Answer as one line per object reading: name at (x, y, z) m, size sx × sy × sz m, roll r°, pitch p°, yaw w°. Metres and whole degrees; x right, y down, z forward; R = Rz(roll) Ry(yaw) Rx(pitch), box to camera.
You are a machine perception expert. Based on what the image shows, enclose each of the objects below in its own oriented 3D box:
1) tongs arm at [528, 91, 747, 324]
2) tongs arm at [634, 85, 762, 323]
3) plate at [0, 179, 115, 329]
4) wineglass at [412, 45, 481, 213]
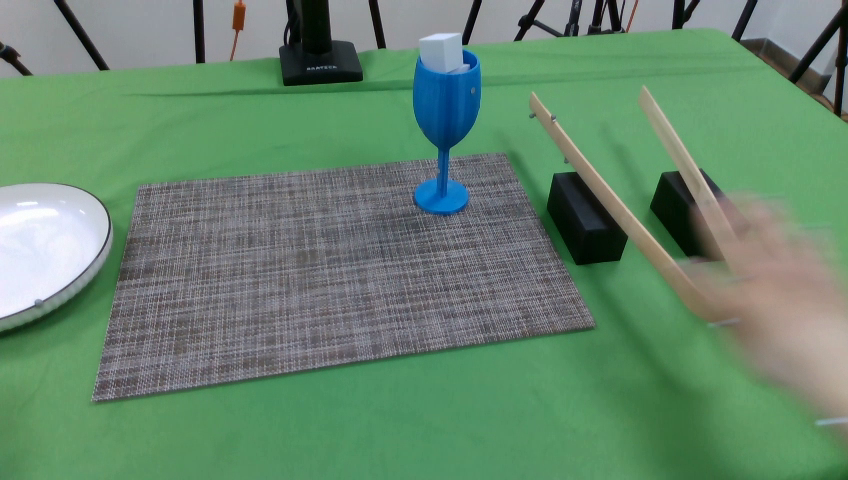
tongs arm at (0.205, -0.059, 0.650) m, size 0.051 × 0.027 × 0.380 m, roll -7°, pitch 43°, yaw -13°
tongs arm at (0.284, -0.066, 0.663) m, size 0.028 × 0.028 × 0.383 m, roll 5°, pitch 42°, yaw -6°
plate at (-0.414, 0.015, 0.599) m, size 0.209 × 0.038 × 0.207 m, roll 1°, pitch 43°, yaw -1°
wineglass at (0.022, -0.117, 0.659) m, size 0.074 × 0.174 × 0.073 m, roll 1°, pitch 43°, yaw -1°
